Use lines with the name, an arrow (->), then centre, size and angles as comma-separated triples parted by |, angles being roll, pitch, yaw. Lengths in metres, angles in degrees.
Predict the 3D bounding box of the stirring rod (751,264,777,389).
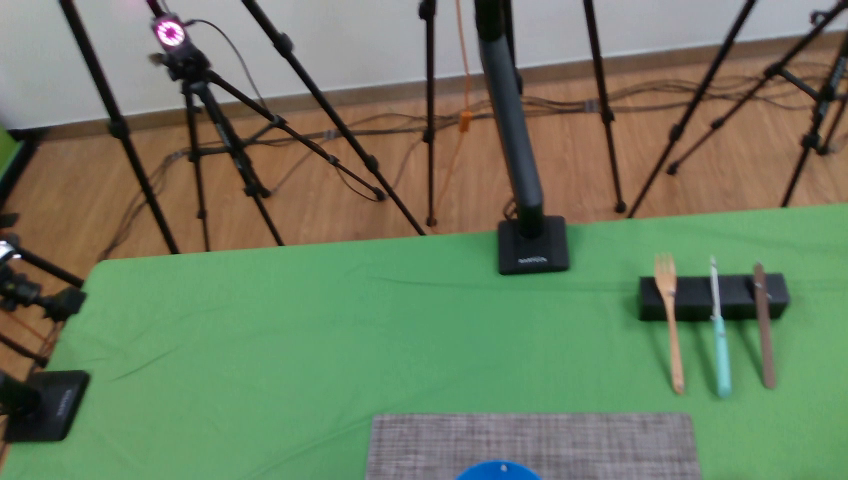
stirring rod -> 0.479, 0.120, 0.854 | 0.014, 0.006, 0.175 | -5, 78, 18

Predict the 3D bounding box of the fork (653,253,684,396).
fork -> 0.357, 0.120, 0.879 | 0.028, 0.019, 0.206 | -4, 73, 7

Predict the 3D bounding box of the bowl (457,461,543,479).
bowl -> 0.098, 0.362, 0.753 | 0.151, 0.077, 0.150 | -6, 52, 8

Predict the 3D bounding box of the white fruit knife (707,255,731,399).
white fruit knife -> 0.417, 0.119, 0.864 | 0.016, 0.027, 0.206 | 0, 70, 9
